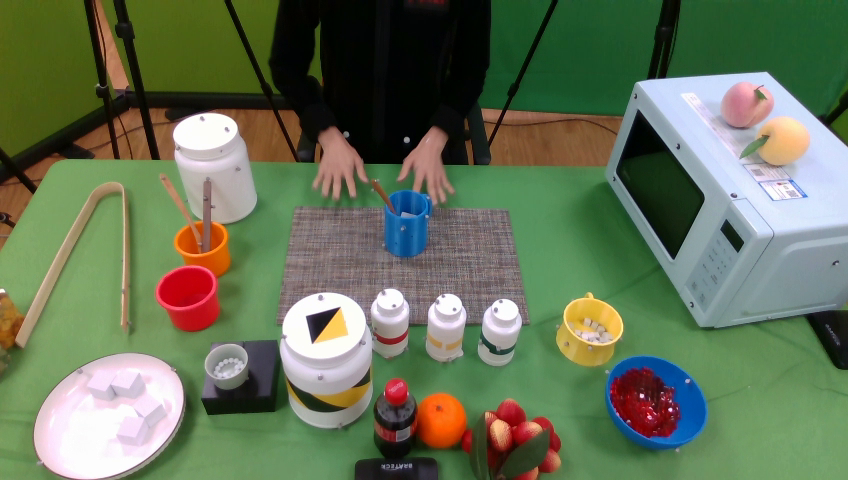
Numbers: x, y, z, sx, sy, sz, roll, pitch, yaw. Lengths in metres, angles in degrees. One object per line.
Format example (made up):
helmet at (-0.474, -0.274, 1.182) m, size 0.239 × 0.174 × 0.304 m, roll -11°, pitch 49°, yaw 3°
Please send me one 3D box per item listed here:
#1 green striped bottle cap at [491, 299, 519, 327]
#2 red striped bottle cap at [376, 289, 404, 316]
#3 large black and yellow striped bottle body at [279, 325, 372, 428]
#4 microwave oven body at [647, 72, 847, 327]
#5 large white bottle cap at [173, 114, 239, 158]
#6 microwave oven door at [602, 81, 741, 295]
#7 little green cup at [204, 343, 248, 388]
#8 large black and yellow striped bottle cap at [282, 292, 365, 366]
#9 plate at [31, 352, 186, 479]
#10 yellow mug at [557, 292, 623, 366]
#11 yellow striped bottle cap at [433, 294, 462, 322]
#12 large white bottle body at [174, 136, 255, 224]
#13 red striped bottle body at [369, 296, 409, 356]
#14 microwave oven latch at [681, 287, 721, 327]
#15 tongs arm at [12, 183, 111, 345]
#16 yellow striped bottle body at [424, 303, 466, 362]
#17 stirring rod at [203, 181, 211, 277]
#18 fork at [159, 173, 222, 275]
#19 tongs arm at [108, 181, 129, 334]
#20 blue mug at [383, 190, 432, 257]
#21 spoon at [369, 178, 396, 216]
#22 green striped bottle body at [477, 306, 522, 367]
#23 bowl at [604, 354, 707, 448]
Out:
green striped bottle cap at (0.128, 0.115, 0.958) m, size 0.044 × 0.020 × 0.044 m, roll 1°, pitch 47°, yaw -1°
red striped bottle cap at (-0.054, 0.098, 0.958) m, size 0.044 × 0.018 × 0.044 m, roll 0°, pitch 48°, yaw 0°
large black and yellow striped bottle body at (-0.143, 0.181, 0.900) m, size 0.131 × 0.185 × 0.130 m, roll 2°, pitch 46°, yaw -2°
microwave oven body at (0.607, -0.089, 1.164) m, size 0.326 × 0.261 × 0.438 m, roll -7°, pitch 46°, yaw -10°
large white bottle cap at (-0.403, -0.195, 1.122) m, size 0.115 × 0.018 × 0.114 m, roll 2°, pitch 47°, yaw -2°
microwave oven door at (0.456, -0.107, 1.162) m, size 0.039 × 0.245 × 0.353 m, roll -7°, pitch 47°, yaw -11°
little green cup at (-0.294, 0.191, 0.909) m, size 0.061 × 0.039 × 0.061 m, roll 1°, pitch 48°, yaw -1°
large black and yellow striped bottle cap at (-0.138, 0.121, 0.841) m, size 0.115 × 0.019 × 0.114 m, roll 3°, pitch 47°, yaw -3°
plate at (-0.459, 0.262, 0.898) m, size 0.209 × 0.038 × 0.208 m, roll 2°, pitch 46°, yaw -2°
yellow mug at (0.285, 0.145, 1.051) m, size 0.100 × 0.064 × 0.130 m, roll 7°, pitch 45°, yaw 4°
yellow striped bottle cap at (0.037, 0.107, 0.958) m, size 0.044 × 0.019 × 0.044 m, roll 2°, pitch 45°, yaw -2°
large white bottle body at (-0.408, -0.136, 1.183) m, size 0.131 × 0.185 × 0.130 m, roll 2°, pitch 46°, yaw -2°
red striped bottle body at (-0.058, 0.134, 0.997) m, size 0.063 × 0.120 × 0.062 m, roll 4°, pitch 47°, yaw -4°
microwave oven latch at (0.494, 0.119, 1.087) m, size 0.030 × 0.029 × 0.078 m, roll -6°, pitch 46°, yaw -9°
tongs arm at (-0.657, 0.027, 1.109) m, size 0.028 × 0.028 × 0.385 m, roll -2°, pitch 45°, yaw 1°
yellow striped bottle body at (0.035, 0.143, 0.995) m, size 0.063 × 0.121 × 0.062 m, roll 3°, pitch 46°, yaw -3°
stirring rod at (-0.396, -0.021, 1.107) m, size 0.014 × 0.006 × 0.176 m, roll -1°, pitch 89°, yaw -1°
fork at (-0.427, -0.029, 1.103) m, size 0.028 × 0.018 × 0.207 m, roll -31°, pitch 99°, yaw -30°
tongs arm at (-0.571, 0.019, 1.123) m, size 0.051 × 0.026 × 0.382 m, roll -11°, pitch 47°, yaw -11°
blue mug at (-0.026, -0.039, 1.172) m, size 0.082 × 0.106 × 0.116 m, roll 34°, pitch 53°, yaw 26°
spoon at (-0.065, -0.057, 1.106) m, size 0.041 × 0.195 × 0.021 m, roll 17°, pitch 64°, yaw 26°
green striped bottle body at (0.124, 0.151, 0.995) m, size 0.063 × 0.120 × 0.063 m, roll 2°, pitch 46°, yaw -2°
bowl at (0.346, 0.261, 0.937) m, size 0.151 × 0.077 × 0.150 m, roll 2°, pitch 46°, yaw -2°
